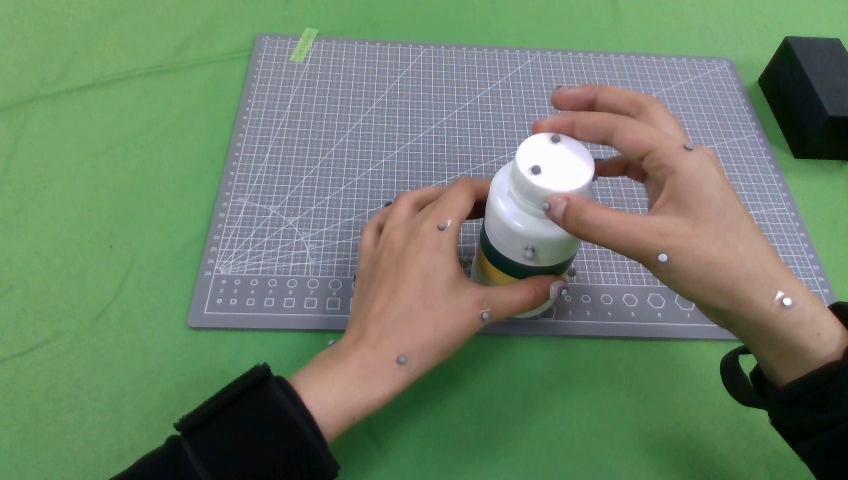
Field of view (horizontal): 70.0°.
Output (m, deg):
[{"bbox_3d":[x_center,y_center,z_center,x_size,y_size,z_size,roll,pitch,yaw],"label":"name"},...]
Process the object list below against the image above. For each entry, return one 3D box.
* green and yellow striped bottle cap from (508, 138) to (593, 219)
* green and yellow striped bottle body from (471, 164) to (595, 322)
[{"bbox_3d":[0.070,-0.035,0.332,0.045,0.020,0.045,3,53,-3],"label":"green and yellow striped bottle cap"},{"bbox_3d":[0.066,-0.003,0.377,0.063,0.120,0.062,2,55,-2],"label":"green and yellow striped bottle body"}]
